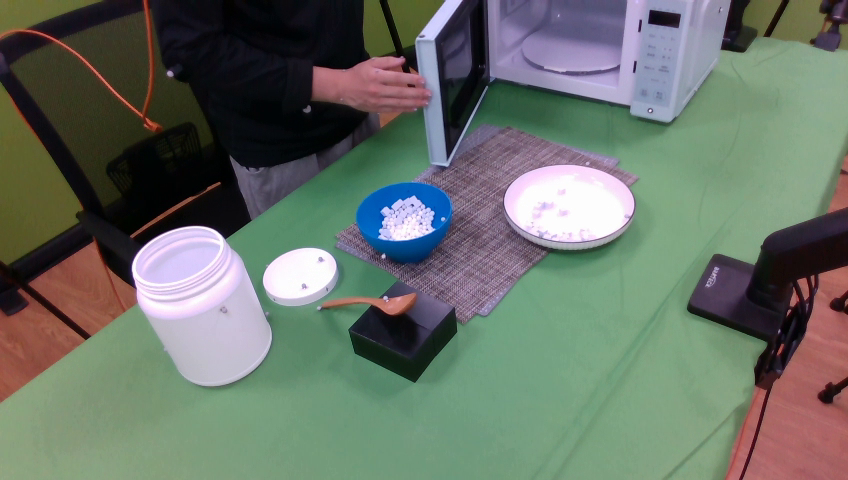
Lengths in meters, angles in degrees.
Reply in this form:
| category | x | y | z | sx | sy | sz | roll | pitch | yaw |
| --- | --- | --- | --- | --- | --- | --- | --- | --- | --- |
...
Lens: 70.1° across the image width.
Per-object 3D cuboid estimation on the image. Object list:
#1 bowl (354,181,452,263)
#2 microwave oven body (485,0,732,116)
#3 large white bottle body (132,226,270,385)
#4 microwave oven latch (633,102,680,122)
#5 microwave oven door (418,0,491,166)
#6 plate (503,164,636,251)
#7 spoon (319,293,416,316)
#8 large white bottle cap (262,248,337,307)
| category | x | y | z | sx | sy | sz | roll | pitch | yaw |
| --- | --- | --- | --- | --- | --- | --- | --- | --- | --- |
| bowl | -0.028 | -0.017 | 0.943 | 0.151 | 0.077 | 0.150 | -4 | 40 | 4 |
| microwave oven body | 0.377 | -0.462 | 1.267 | 0.438 | 0.261 | 0.327 | 21 | 48 | 30 |
| large white bottle body | -0.286 | 0.085 | 0.783 | 0.130 | 0.185 | 0.130 | -4 | 41 | 4 |
| microwave oven latch | 0.444 | -0.249 | 1.157 | 0.078 | 0.029 | 0.030 | 22 | 49 | 30 |
| microwave oven door | 0.069 | -0.341 | 1.162 | 0.039 | 0.245 | 0.355 | 7 | 42 | 17 |
| plate | 0.232 | -0.051 | 0.976 | 0.209 | 0.038 | 0.208 | -3 | 41 | 3 |
| spoon | -0.082 | 0.086 | 0.826 | 0.192 | 0.022 | 0.041 | -3 | 37 | 41 |
| large white bottle cap | -0.193 | 0.056 | 0.934 | 0.115 | 0.018 | 0.114 | -5 | 41 | 5 |
